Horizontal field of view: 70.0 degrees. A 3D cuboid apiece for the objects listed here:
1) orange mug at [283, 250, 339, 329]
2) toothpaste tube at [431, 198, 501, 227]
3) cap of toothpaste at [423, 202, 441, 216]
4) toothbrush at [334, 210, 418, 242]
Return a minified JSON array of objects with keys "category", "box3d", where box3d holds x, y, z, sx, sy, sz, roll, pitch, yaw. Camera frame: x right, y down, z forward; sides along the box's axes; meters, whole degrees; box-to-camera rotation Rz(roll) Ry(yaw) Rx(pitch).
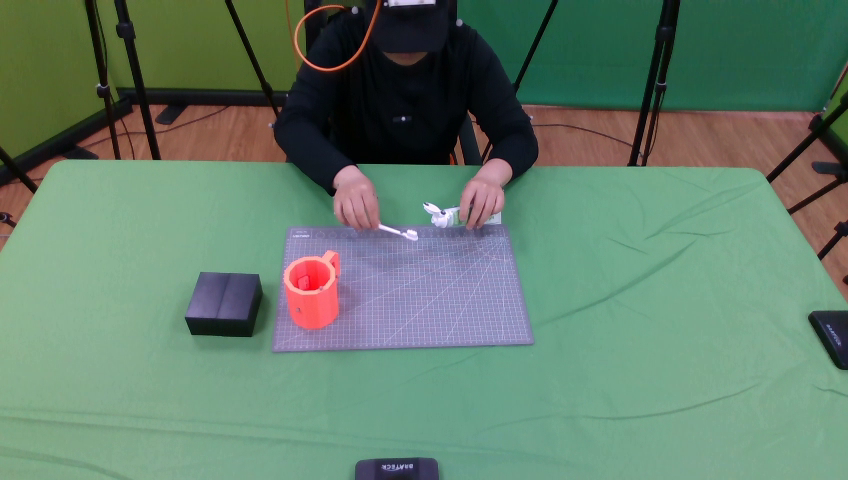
[{"category":"orange mug","box3d":[-0.186,0.078,1.052,0.083,0.101,0.126,20,52,15]},{"category":"toothpaste tube","box3d":[0.085,-0.050,1.182,0.165,0.055,0.034,-7,18,-31]},{"category":"cap of toothpaste","box3d":[0.013,-0.057,1.126,0.037,0.011,0.037,25,25,-12]},{"category":"toothbrush","box3d":[-0.093,-0.029,1.149,0.181,0.017,0.014,18,50,19]}]
